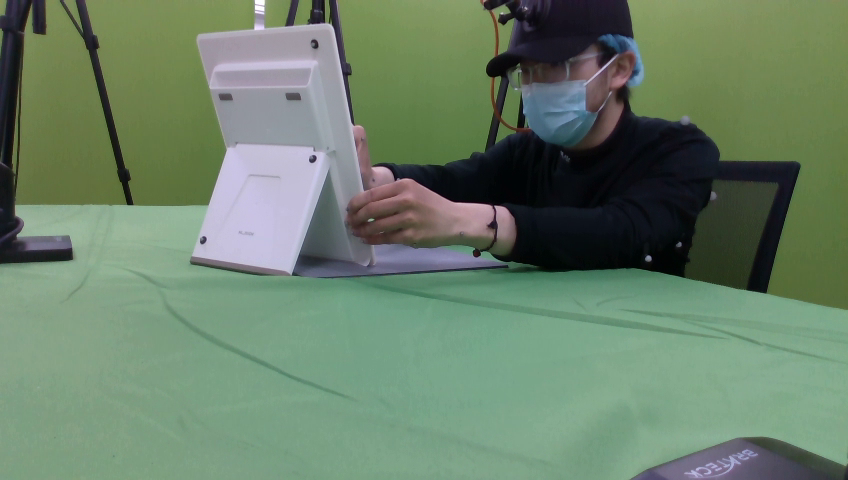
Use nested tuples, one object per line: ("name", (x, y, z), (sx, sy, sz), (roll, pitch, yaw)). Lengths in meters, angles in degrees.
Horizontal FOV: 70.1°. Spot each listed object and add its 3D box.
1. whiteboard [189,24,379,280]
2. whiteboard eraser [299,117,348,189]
("whiteboard", (-0.207, -0.085, 0.729), (0.216, 0.305, 0.144), (7, 30, 30))
("whiteboard eraser", (-0.136, -0.111, 0.796), (0.042, 0.055, 0.112), (-28, -8, -25))
